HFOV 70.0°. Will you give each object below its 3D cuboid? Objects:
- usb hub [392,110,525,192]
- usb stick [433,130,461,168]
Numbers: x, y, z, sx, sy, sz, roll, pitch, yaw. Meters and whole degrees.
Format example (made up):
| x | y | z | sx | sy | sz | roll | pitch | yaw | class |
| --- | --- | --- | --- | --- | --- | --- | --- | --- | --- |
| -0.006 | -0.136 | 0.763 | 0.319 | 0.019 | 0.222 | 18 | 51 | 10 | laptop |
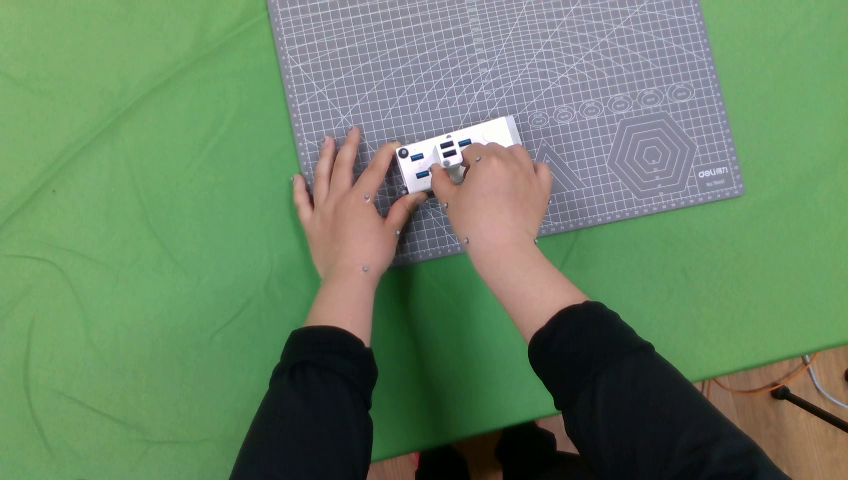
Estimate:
| x | y | z | sx | sy | sz | roll | pitch | yaw | class |
| --- | --- | --- | --- | --- | --- | --- | --- | --- | --- |
| 0.034 | -0.090 | 0.610 | 0.125 | 0.025 | 0.049 | -17 | 87 | -5 | usb hub |
| 0.022 | -0.085 | 0.579 | 0.021 | 0.059 | 0.027 | -21 | 86 | 1 | usb stick |
